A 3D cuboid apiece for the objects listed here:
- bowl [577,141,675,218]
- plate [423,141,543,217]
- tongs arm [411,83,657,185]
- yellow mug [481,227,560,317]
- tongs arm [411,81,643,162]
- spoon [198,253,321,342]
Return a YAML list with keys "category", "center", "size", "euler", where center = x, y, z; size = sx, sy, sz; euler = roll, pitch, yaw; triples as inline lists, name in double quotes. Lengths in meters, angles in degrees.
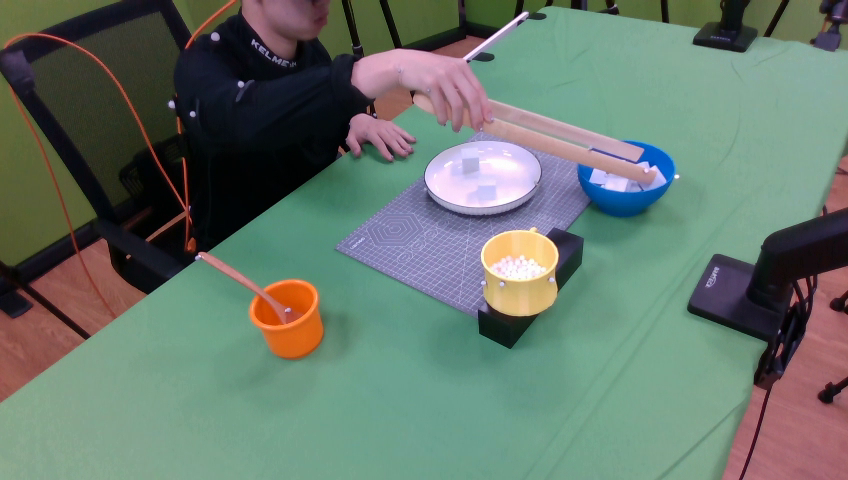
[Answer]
- category: "bowl"
  center: [0.324, -0.089, 0.984]
  size: [0.151, 0.077, 0.150]
  euler: [-4, 40, 4]
- category: "plate"
  center: [0.103, -0.104, 1.059]
  size: [0.207, 0.039, 0.206]
  euler: [-4, 40, 4]
- category: "tongs arm"
  center: [0.167, -0.154, 0.896]
  size: [0.387, 0.026, 0.050]
  euler: [14, 36, -13]
- category: "yellow mug"
  center: [0.132, 0.032, 0.801]
  size: [0.099, 0.064, 0.131]
  euler: [11, 42, 20]
- category: "tongs arm"
  center: [0.167, -0.179, 0.931]
  size: [0.389, 0.028, 0.028]
  euler: [14, 40, -14]
- category: "spoon"
  center: [-0.220, 0.075, 0.814]
  size: [0.021, 0.194, 0.041]
  euler: [-37, 18, 39]
